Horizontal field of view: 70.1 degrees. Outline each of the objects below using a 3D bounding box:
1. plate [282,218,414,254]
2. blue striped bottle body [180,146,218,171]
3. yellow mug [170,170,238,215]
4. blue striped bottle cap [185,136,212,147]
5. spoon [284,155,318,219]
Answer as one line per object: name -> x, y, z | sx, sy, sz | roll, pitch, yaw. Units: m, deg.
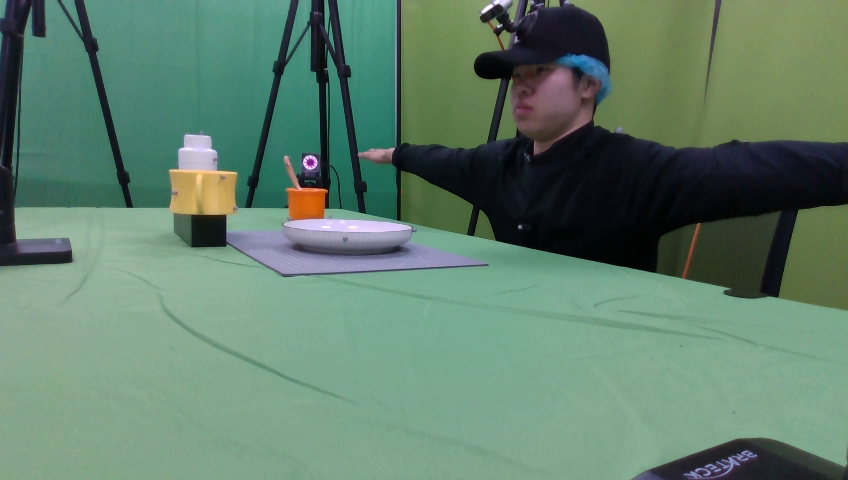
plate -> -0.121, -0.007, 0.971 | 0.208, 0.039, 0.207 | 2, 7, 0
blue striped bottle body -> -0.392, -0.118, 1.053 | 0.063, 0.120, 0.063 | 3, 7, 0
yellow mug -> -0.342, -0.074, 0.939 | 0.100, 0.064, 0.130 | 0, 8, -16
blue striped bottle cap -> -0.390, -0.169, 1.047 | 0.044, 0.020, 0.044 | 4, 9, 0
spoon -> -0.286, -0.122, 1.367 | 0.042, 0.021, 0.193 | -6, 50, -36
